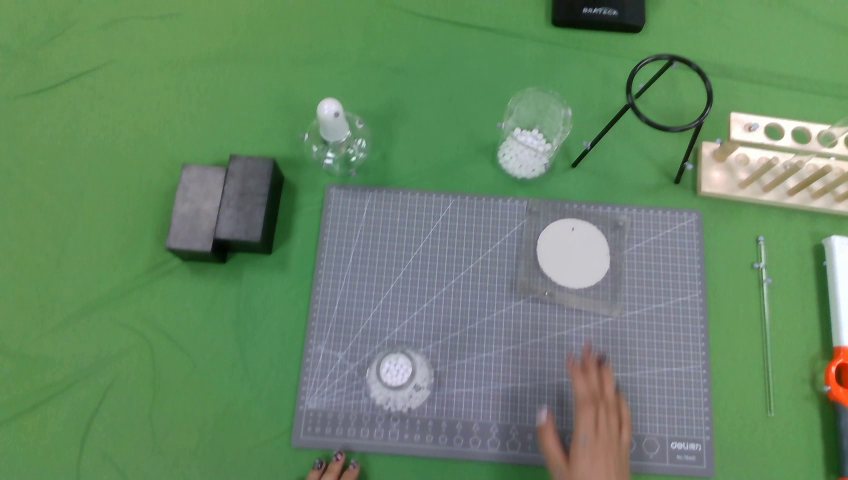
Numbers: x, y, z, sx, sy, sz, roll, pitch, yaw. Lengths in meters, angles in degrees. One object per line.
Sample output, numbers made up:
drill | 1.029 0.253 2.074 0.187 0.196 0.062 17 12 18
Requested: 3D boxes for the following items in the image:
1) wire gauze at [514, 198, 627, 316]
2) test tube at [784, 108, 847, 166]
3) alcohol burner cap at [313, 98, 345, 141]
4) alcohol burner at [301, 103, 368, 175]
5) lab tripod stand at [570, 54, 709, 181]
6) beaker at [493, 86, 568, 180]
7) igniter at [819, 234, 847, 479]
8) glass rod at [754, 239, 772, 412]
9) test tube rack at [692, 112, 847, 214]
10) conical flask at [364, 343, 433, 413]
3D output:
wire gauze | 0.171 0.017 0.705 0.125 0.011 0.121 13 74 0
test tube | 0.435 -0.113 0.658 0.017 0.151 0.017 -1 73 2
alcohol burner cap | -0.104 -0.133 0.654 0.034 0.048 0.033 1 67 -2
alcohol burner | -0.104 -0.120 0.688 0.078 0.120 0.077 0 74 1
lab tripod stand | 0.247 -0.133 0.687 0.148 0.132 0.147 0 75 0
beaker | 0.120 -0.116 0.698 0.074 0.101 0.083 -13 75 -4
igniter | 0.465 0.127 0.670 0.057 0.025 0.275 9 74 -8
glass rod | 0.384 0.093 0.688 0.008 0.008 0.198 5 73 0
test tube rack | 0.450 -0.083 0.700 0.242 0.085 0.066 8 73 2
conical flask | -0.028 0.134 0.608 0.075 0.122 0.075 0 73 0
